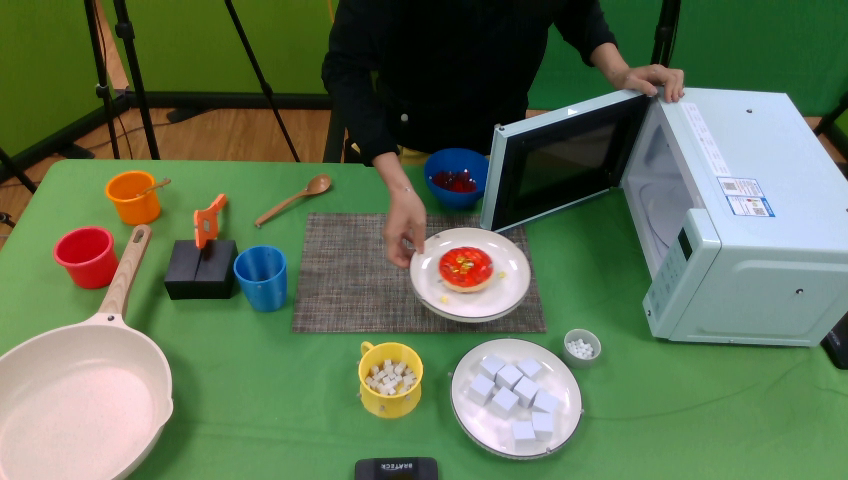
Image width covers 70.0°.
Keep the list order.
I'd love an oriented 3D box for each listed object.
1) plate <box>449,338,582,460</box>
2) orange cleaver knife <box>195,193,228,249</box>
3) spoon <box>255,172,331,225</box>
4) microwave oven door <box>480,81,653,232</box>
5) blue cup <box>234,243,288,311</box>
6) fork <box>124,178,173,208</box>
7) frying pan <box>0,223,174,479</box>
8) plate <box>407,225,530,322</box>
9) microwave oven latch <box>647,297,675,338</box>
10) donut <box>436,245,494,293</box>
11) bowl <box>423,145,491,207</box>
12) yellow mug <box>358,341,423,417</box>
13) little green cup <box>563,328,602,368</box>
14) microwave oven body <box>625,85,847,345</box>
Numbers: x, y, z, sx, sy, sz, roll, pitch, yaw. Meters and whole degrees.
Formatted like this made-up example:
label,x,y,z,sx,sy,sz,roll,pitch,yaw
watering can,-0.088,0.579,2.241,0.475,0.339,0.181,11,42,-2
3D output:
label,x,y,z,sx,sy,sz,roll,pitch,yaw
plate,0.141,0.251,0.955,0.208,0.039,0.206,2,47,-2
orange cleaver knife,-0.406,-0.041,1.163,0.012,0.077,0.210,0,18,-3
spoon,-0.272,-0.087,1.257,0.041,0.022,0.193,43,57,18
microwave oven door,0.280,-0.163,1.192,0.356,0.245,0.039,-21,51,-22
blue cup,-0.276,0.072,1.052,0.093,0.101,0.092,1,48,-1
fork,-0.525,-0.090,1.154,0.207,0.019,0.028,-17,27,45
frying pan,-0.505,0.169,0.941,0.307,0.103,0.485,5,54,-1
plate,0.075,0.060,1.033,0.209,0.038,0.208,1,46,-1
microwave oven latch,0.413,0.133,1.060,0.030,0.029,0.078,5,46,2
donut,0.069,0.047,1.030,0.099,0.048,0.098,1,43,0
bowl,0.073,-0.123,1.277,0.151,0.077,0.150,2,46,-2
yellow mug,-0.062,0.209,0.961,0.100,0.064,0.130,-29,54,-27
little green cup,0.265,0.184,1.024,0.061,0.039,0.061,3,45,-3
microwave oven body,0.568,-0.054,1.116,0.326,0.261,0.439,2,46,-1
